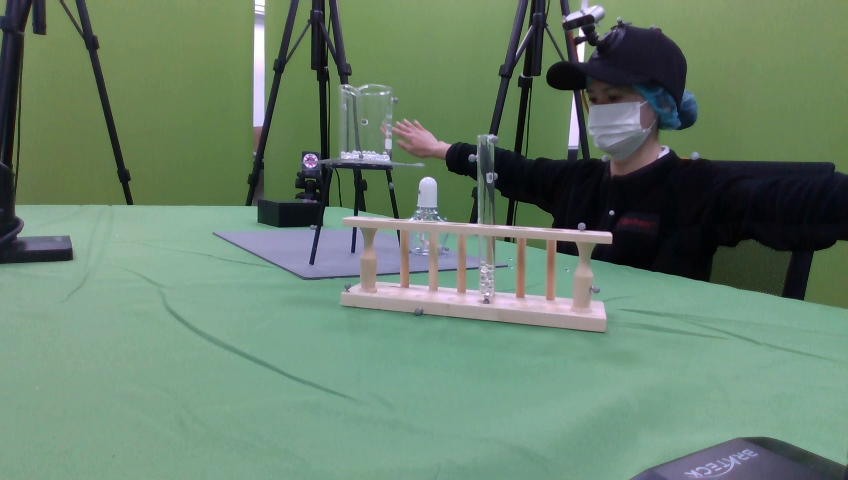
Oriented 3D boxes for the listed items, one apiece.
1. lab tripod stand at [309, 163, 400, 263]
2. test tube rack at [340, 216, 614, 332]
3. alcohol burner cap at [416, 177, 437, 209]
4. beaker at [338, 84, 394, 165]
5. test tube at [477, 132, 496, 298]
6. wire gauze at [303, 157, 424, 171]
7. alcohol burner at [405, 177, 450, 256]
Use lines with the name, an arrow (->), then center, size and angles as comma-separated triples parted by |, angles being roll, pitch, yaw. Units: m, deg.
lab tripod stand -> -0.091, -0.037, 0.813 | 0.148, 0.131, 0.148 | 1, 6, 0
test tube rack -> 0.048, 0.026, 0.568 | 0.242, 0.085, 0.067 | 4, 7, 13
alcohol burner cap -> 0.005, -0.072, 0.914 | 0.034, 0.048, 0.034 | 4, 10, 0
beaker -> -0.077, -0.149, 0.792 | 0.074, 0.100, 0.084 | 2, 6, 9
test tube -> 0.056, -0.020, 0.540 | 0.017, 0.150, 0.017 | -1, 11, 1
wire gauze -> -0.082, -0.101, 0.799 | 0.126, 0.011, 0.121 | 1, 7, -30
alcohol burner -> 0.004, -0.036, 0.917 | 0.078, 0.119, 0.078 | 3, 6, 0
